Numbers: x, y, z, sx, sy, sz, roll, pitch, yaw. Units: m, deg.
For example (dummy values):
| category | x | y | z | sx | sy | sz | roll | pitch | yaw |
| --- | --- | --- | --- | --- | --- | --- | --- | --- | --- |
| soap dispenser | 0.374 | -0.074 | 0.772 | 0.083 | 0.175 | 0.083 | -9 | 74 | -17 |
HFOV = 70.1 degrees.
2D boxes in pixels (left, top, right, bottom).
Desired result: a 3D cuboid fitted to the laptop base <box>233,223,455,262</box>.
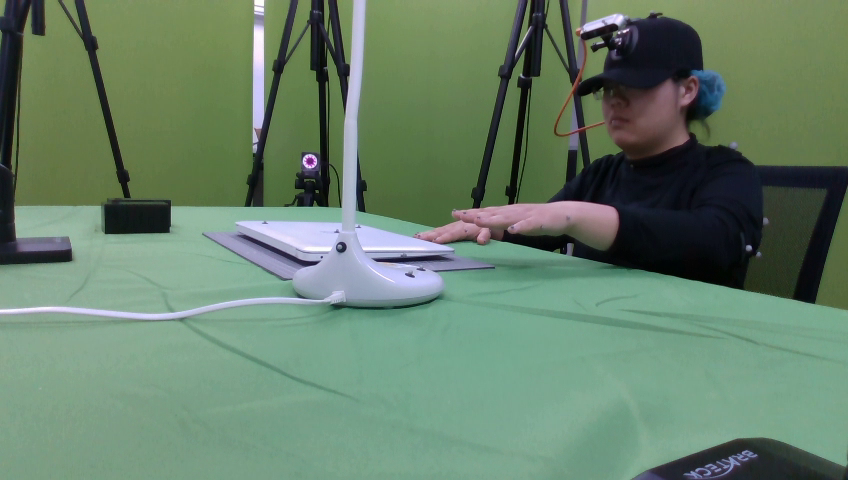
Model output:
| category | x | y | z | sx | sy | sz | roll | pitch | yaw |
| --- | --- | --- | --- | --- | --- | --- | --- | --- | --- |
| laptop base | -0.141 | 0.003 | 0.959 | 0.237 | 0.023 | 0.352 | 2 | 6 | -32 |

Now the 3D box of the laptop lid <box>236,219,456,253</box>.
| category | x | y | z | sx | sy | sz | roll | pitch | yaw |
| --- | --- | --- | --- | --- | --- | --- | --- | --- | --- |
| laptop lid | -0.139 | -0.008 | 0.959 | 0.243 | 0.013 | 0.355 | 1 | 7 | -30 |

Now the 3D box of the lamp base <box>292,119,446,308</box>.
| category | x | y | z | sx | sy | sz | roll | pitch | yaw |
| --- | --- | --- | --- | --- | --- | --- | --- | --- | --- |
| lamp base | -0.056 | -0.030 | 0.616 | 0.160 | 0.180 | 0.179 | 3 | 10 | 8 |
